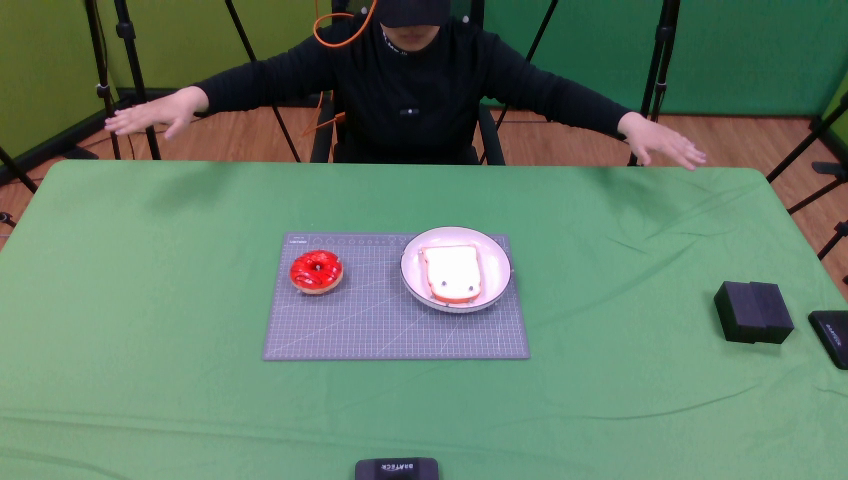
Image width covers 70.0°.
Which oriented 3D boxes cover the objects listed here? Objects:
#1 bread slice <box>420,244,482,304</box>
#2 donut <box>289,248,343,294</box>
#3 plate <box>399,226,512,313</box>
[{"bbox_3d":[0.055,0.062,1.131,0.107,0.018,0.133,-6,47,-8],"label":"bread slice"},{"bbox_3d":[-0.197,0.056,1.111,0.099,0.048,0.098,1,45,-1],"label":"donut"},{"bbox_3d":[0.057,0.057,1.134,0.209,0.038,0.208,2,46,-2],"label":"plate"}]
